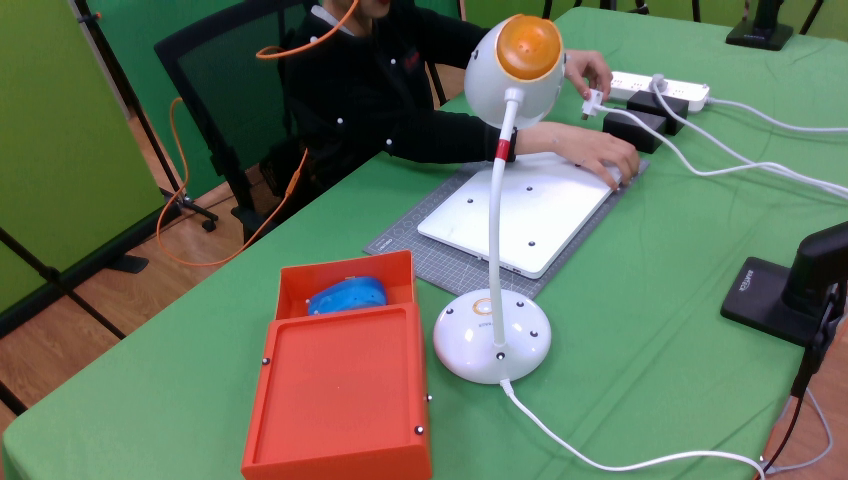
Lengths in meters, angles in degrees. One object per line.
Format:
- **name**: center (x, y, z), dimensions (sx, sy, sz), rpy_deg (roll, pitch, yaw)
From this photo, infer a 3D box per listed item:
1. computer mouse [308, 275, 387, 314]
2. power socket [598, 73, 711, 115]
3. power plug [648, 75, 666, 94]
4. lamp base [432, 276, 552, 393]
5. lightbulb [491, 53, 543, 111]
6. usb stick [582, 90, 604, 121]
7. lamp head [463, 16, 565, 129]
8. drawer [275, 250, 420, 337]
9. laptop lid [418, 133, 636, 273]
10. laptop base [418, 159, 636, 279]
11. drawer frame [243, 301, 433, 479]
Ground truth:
- **computer mouse**: center (-0.112, 0.089, 0.881), dimensions (0.117, 0.041, 0.062), rpy_deg (-16, 42, 0)
- **power socket**: center (0.470, -0.303, 1.249), dimensions (0.225, 0.033, 0.072), rpy_deg (20, 49, 30)
- **power plug**: center (0.457, -0.301, 1.212), dimensions (0.073, 0.053, 0.035), rpy_deg (-36, 47, -28)
- **lamp base**: center (0.085, 0.075, 0.756), dimensions (0.161, 0.181, 0.178), rpy_deg (-14, 44, -5)
- **lightbulb**: center (0.107, -0.182, 0.679), dimensions (0.059, 0.059, 0.108), rpy_deg (-9, -3, 1)
- **usb stick**: center (0.316, -0.251, 1.139), dimensions (0.022, 0.059, 0.027), rpy_deg (3, 27, -28)
- **lamp head**: center (0.101, -0.184, 0.655), dimensions (0.112, 0.112, 0.123), rpy_deg (-9, 1, 0)
- **drawer**: center (-0.104, 0.117, 0.825), dimensions (0.194, 0.073, 0.210), rpy_deg (-8, 40, 1)
- **laptop lid**: center (0.181, -0.084, 1.036), dimensions (0.239, 0.013, 0.358), rpy_deg (22, 48, 35)
- **laptop base**: center (0.185, -0.074, 1.042), dimensions (0.233, 0.023, 0.355), rpy_deg (20, 48, 35)
- **drawer frame**: center (-0.096, 0.185, 0.738), dimensions (0.202, 0.083, 0.212), rpy_deg (-8, 40, 1)
